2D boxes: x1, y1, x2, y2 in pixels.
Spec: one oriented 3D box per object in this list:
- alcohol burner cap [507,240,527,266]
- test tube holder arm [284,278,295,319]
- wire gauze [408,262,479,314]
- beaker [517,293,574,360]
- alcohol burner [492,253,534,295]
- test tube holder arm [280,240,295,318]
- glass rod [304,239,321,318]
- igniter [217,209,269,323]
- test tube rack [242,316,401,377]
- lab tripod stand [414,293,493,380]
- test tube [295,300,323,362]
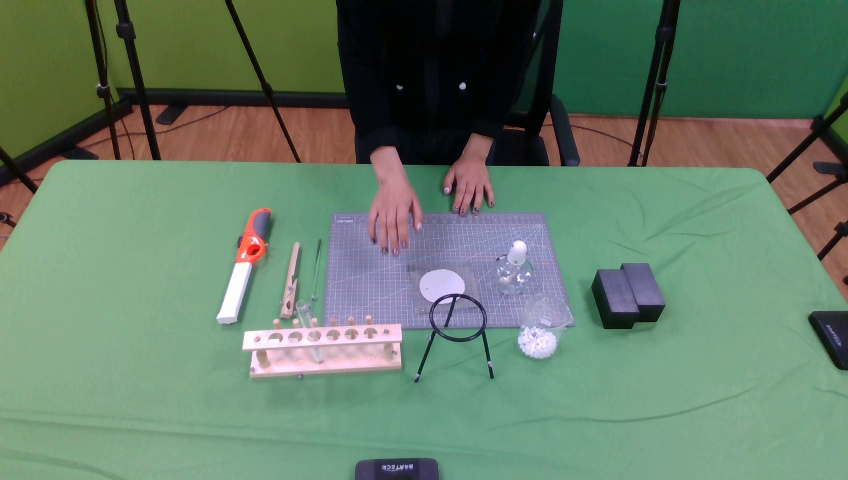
[{"bbox_3d":[0.167,0.021,1.075,0.034,0.048,0.033,1,55,-1],"label":"alcohol burner cap"},{"bbox_3d":[-0.242,0.103,1.085,0.010,0.015,0.087,29,37,-30],"label":"test tube holder arm"},{"bbox_3d":[0.036,0.085,1.127,0.121,0.011,0.124,-2,43,-6],"label":"wire gauze"},{"bbox_3d":[0.200,0.149,1.019,0.084,0.101,0.073,14,47,8],"label":"beaker"},{"bbox_3d":[0.165,0.045,1.103,0.078,0.119,0.077,3,47,-3],"label":"alcohol burner"},{"bbox_3d":[-0.250,0.068,1.113,0.013,0.015,0.177,27,38,-32],"label":"test tube holder arm"},{"bbox_3d":[-0.207,0.068,1.127,0.008,0.008,0.198,2,43,-2],"label":"glass rod"},{"bbox_3d":[-0.335,0.039,1.132,0.057,0.025,0.275,-3,46,6],"label":"igniter"},{"bbox_3d":[-0.161,0.166,0.983,0.242,0.085,0.066,-2,46,-6],"label":"test tube rack"},{"bbox_3d":[0.052,0.159,0.972,0.148,0.132,0.147,4,46,-4],"label":"lab tripod stand"},{"bbox_3d":[-0.176,0.143,0.935,0.017,0.151,0.017,-2,46,2],"label":"test tube"}]
